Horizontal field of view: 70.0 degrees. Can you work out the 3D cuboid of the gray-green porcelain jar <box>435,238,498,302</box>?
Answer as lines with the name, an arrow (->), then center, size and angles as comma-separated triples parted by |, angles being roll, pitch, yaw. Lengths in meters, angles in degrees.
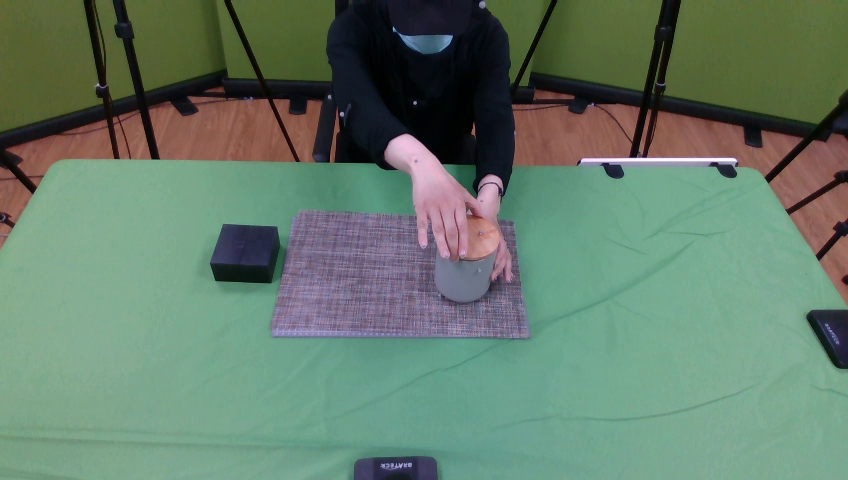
gray-green porcelain jar -> 0.073, 0.041, 1.083 | 0.106, 0.127, 0.105 | 2, 46, -2

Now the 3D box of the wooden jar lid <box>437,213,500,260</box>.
wooden jar lid -> 0.075, -0.004, 1.036 | 0.108, 0.021, 0.107 | 2, 44, -2
